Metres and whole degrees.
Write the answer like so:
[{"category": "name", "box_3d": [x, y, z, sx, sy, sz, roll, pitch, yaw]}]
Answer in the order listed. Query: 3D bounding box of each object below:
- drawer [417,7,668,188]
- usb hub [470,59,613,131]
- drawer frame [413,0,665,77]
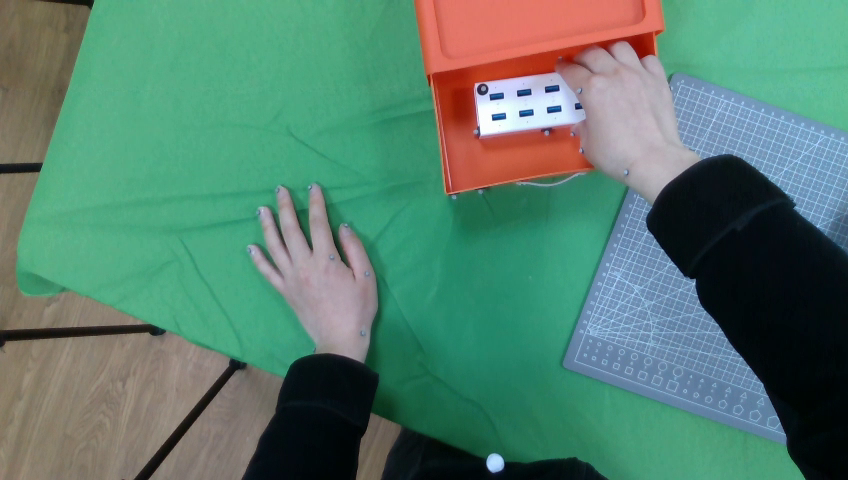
[{"category": "drawer", "box_3d": [0.098, -0.160, 0.531, 0.194, 0.073, 0.212, -8, 97, 3]}, {"category": "usb hub", "box_3d": [0.106, -0.133, 0.554, 0.125, 0.025, 0.049, -6, 94, 2]}, {"category": "drawer frame", "box_3d": [0.081, -0.262, 0.519, 0.201, 0.082, 0.214, -11, 95, 3]}]
